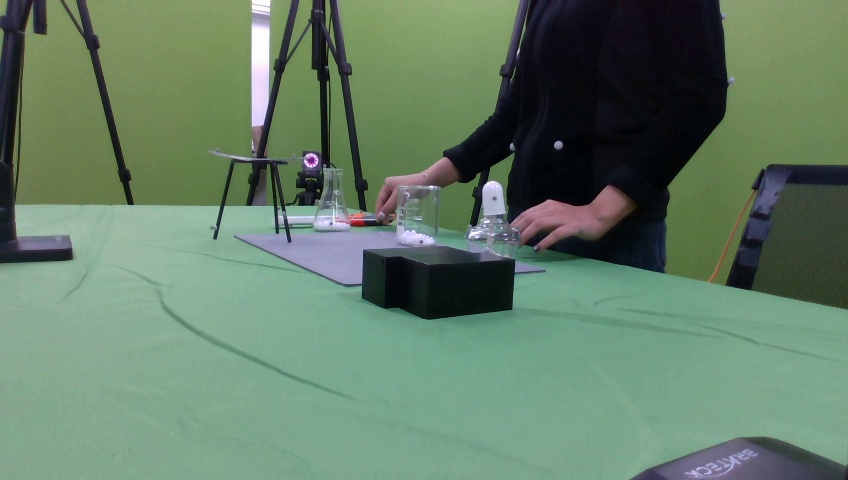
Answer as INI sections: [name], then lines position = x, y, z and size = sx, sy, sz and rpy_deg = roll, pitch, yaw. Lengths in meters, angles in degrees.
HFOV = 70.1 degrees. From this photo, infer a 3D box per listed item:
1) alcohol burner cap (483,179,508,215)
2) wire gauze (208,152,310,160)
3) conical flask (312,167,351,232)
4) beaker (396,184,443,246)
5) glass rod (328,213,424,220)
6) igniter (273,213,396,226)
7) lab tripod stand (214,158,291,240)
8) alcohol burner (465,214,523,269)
[alcohol burner cap]
position = 0.094, -0.057, 0.810
size = 0.034, 0.048, 0.034
rpy_deg = -8, 6, 1
[wire gauze]
position = -0.270, -0.135, 0.993
size = 0.124, 0.011, 0.122
rpy_deg = 9, 8, 41
[conical flask]
position = -0.176, -0.078, 1.162
size = 0.075, 0.122, 0.075
rpy_deg = 3, 7, 0
[beaker]
position = -0.011, -0.043, 1.004
size = 0.083, 0.100, 0.074
rpy_deg = 8, 9, 39
[glass rod]
position = -0.096, -0.049, 1.234
size = 0.200, 0.008, 0.008
rpy_deg = -3, 8, -15
[igniter]
position = -0.179, -0.044, 1.258
size = 0.278, 0.025, 0.057
rpy_deg = -3, -2, -39
[lab tripod stand]
position = -0.268, -0.068, 1.002
size = 0.148, 0.131, 0.148
rpy_deg = 3, 6, 0
[alcohol burner]
position = 0.094, -0.022, 0.815
size = 0.078, 0.119, 0.078
rpy_deg = 0, 6, 0
